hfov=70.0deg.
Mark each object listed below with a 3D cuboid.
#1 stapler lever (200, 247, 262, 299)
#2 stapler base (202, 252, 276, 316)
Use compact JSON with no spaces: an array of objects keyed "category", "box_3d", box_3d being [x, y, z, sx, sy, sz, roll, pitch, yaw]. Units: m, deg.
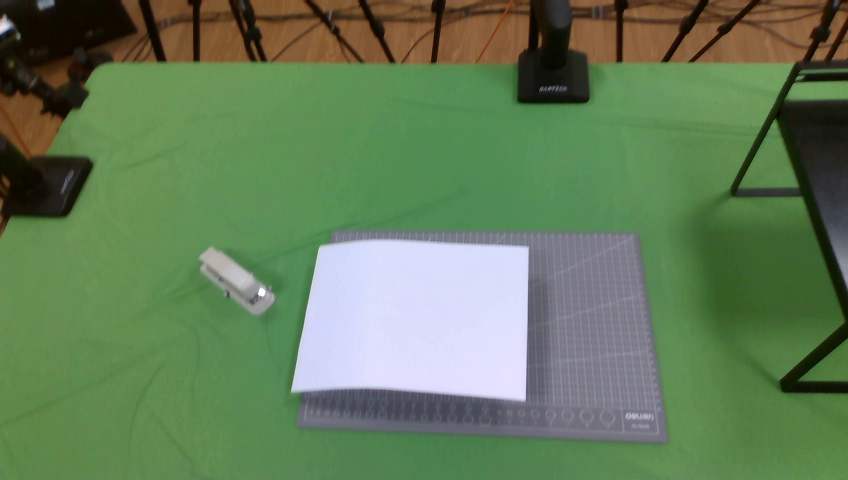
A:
[{"category":"stapler lever","box_3d":[-0.273,0.043,0.849,0.117,0.040,0.027,33,64,25]},{"category":"stapler base","box_3d":[-0.269,0.058,0.869,0.129,0.024,0.041,33,64,25]}]
